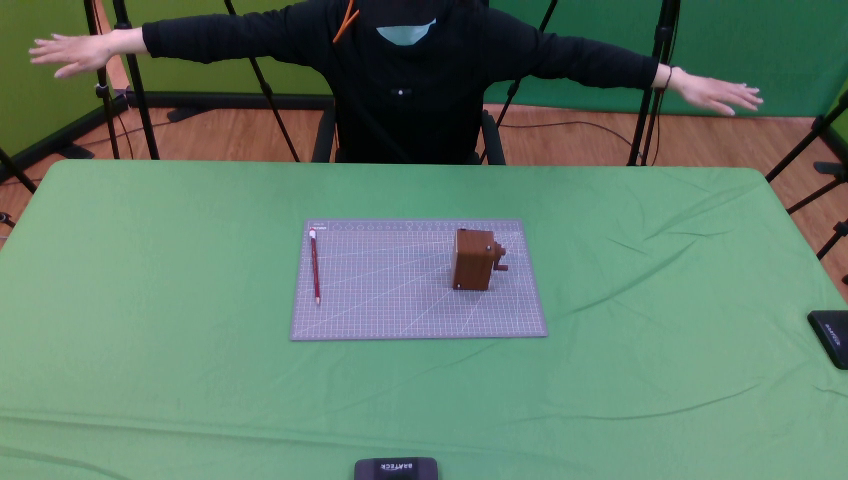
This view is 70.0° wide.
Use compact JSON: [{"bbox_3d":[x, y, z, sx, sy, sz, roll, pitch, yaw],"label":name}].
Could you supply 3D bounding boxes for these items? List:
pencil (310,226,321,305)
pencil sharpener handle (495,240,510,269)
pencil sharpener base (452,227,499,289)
[{"bbox_3d":[-0.204,0.045,1.141,0.012,0.012,0.192,-6,49,-9],"label":"pencil"},{"bbox_3d":[0.145,0.029,1.095,0.030,0.068,0.036,3,47,-1],"label":"pencil sharpener handle"},{"bbox_3d":[0.093,0.035,1.102,0.077,0.107,0.061,3,46,-1],"label":"pencil sharpener base"}]
